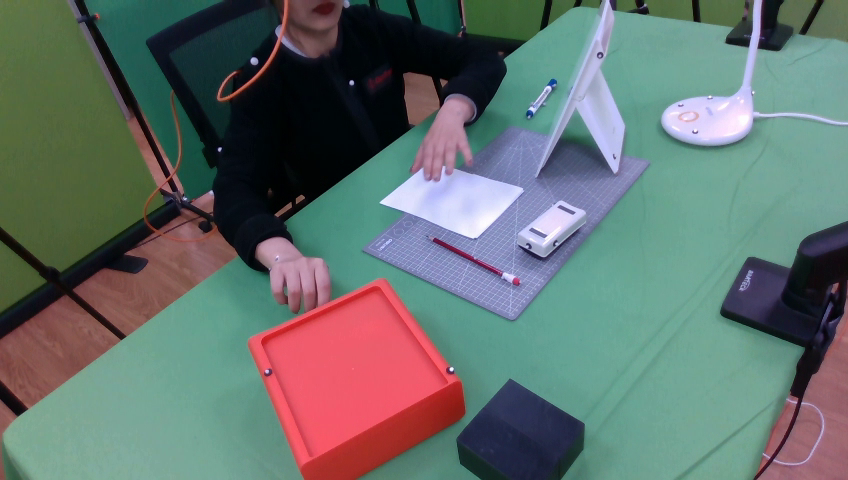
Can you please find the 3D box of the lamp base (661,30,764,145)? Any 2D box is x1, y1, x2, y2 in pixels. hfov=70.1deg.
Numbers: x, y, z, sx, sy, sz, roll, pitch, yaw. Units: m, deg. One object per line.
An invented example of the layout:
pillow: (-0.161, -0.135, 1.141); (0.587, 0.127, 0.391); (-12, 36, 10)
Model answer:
lamp base: (0.535, -0.287, 1.096); (0.179, 0.181, 0.159); (-10, 40, -4)

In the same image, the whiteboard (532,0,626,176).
whiteboard: (0.321, -0.258, 1.049); (0.144, 0.306, 0.217); (21, 45, 5)

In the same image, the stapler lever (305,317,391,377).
stapler lever: (-0.099, 0.138, 0.789); (0.118, 0.040, 0.026); (-22, 46, -12)

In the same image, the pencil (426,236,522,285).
pencil: (0.072, 0.028, 0.941); (0.192, 0.012, 0.012); (26, 52, 37)

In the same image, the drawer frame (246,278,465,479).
drawer frame: (-0.088, 0.168, 0.752); (0.202, 0.083, 0.211); (-24, 43, -18)

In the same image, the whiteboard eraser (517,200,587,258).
whiteboard eraser: (0.200, -0.016, 0.943); (0.113, 0.042, 0.055); (-37, 46, -29)

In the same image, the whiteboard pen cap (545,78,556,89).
whiteboard pen cap: (0.280, -0.344, 1.335); (0.018, 0.018, 0.033); (15, 45, 26)

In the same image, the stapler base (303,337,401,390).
stapler base: (-0.096, 0.159, 0.812); (0.131, 0.024, 0.041); (-17, 45, -17)

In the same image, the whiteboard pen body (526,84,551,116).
whiteboard pen body: (0.251, -0.305, 1.298); (0.017, 0.017, 0.141); (15, 45, 26)

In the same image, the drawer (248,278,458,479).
drawer: (-0.091, 0.167, 0.756); (0.195, 0.073, 0.210); (-24, 43, -18)
